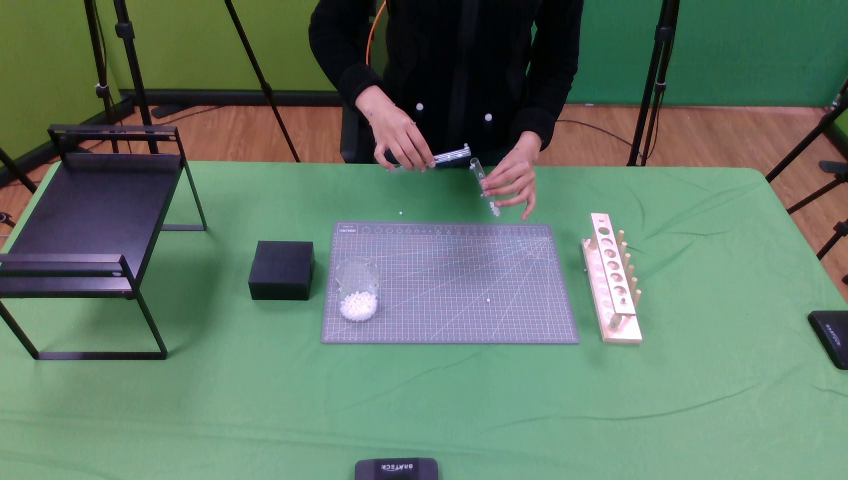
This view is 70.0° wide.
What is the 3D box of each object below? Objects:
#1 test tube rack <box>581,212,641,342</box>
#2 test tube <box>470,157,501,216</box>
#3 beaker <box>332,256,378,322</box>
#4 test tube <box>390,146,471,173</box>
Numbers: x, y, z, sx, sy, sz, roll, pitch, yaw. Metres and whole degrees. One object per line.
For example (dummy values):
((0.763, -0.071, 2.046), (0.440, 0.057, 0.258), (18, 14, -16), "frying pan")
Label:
((0.351, 0.064, 1.120), (0.067, 0.085, 0.241), (3, 46, -1), "test tube rack")
((0.114, -0.095, 1.108), (0.017, 0.151, 0.017), (-14, 47, 16), "test tube")
((-0.114, 0.089, 1.047), (0.083, 0.101, 0.074), (30, 51, 21), "beaker")
((0.010, -0.141, 1.070), (0.150, 0.017, 0.017), (-12, 45, 14), "test tube")
